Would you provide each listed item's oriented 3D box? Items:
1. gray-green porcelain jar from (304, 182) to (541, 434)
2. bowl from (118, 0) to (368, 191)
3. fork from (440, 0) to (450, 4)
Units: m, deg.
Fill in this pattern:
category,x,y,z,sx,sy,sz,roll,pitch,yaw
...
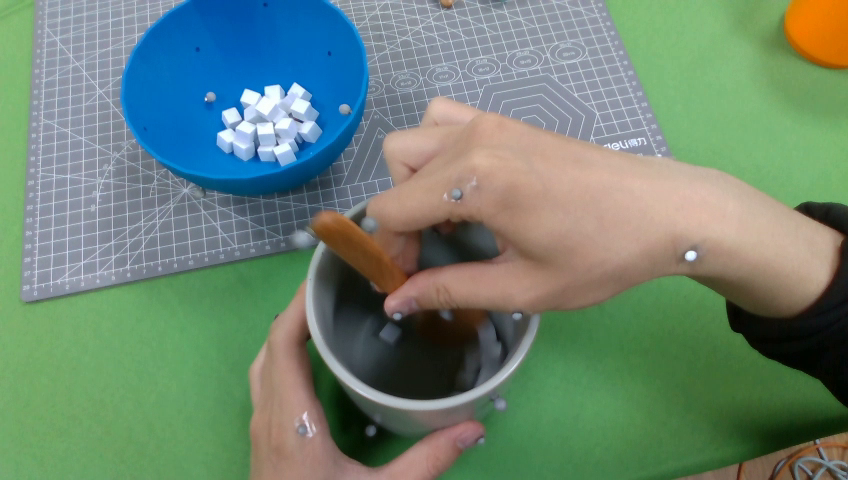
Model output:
category,x,y,z,sx,sy,sz,roll,pitch,yaw
gray-green porcelain jar,0.000,0.045,0.322,0.106,0.127,0.105,0,67,1
bowl,-0.109,-0.089,0.402,0.151,0.077,0.150,0,67,0
fork,-0.008,-0.290,0.487,0.028,0.018,0.207,-14,86,-11
